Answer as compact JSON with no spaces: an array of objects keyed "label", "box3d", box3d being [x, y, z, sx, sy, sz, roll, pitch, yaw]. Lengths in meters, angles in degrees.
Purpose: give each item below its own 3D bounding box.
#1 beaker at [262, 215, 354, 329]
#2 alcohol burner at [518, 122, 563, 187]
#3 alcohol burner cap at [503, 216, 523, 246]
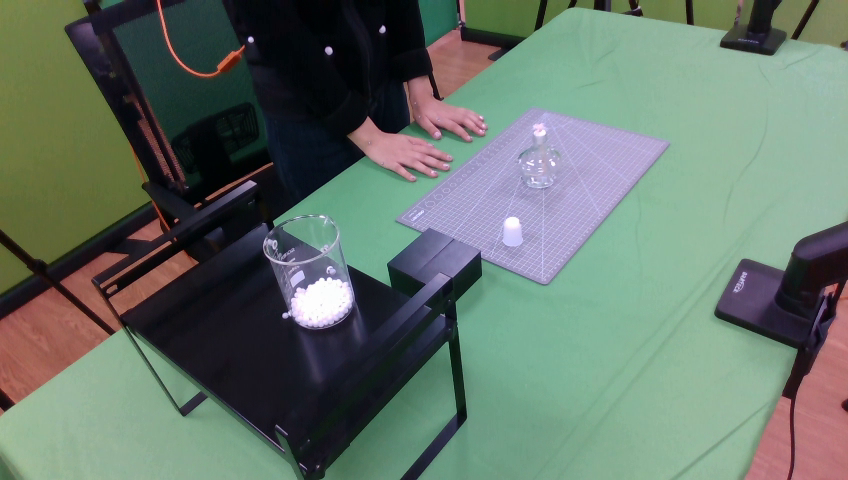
[{"label":"beaker","box3d":[-0.112,0.034,0.616,0.073,0.101,0.084,13,44,23]},{"label":"alcohol burner","box3d":[0.201,-0.151,1.046,0.078,0.119,0.077,-6,42,6]},{"label":"alcohol burner cap","box3d":[0.140,-0.017,0.954,0.034,0.048,0.033,-4,42,4]}]
